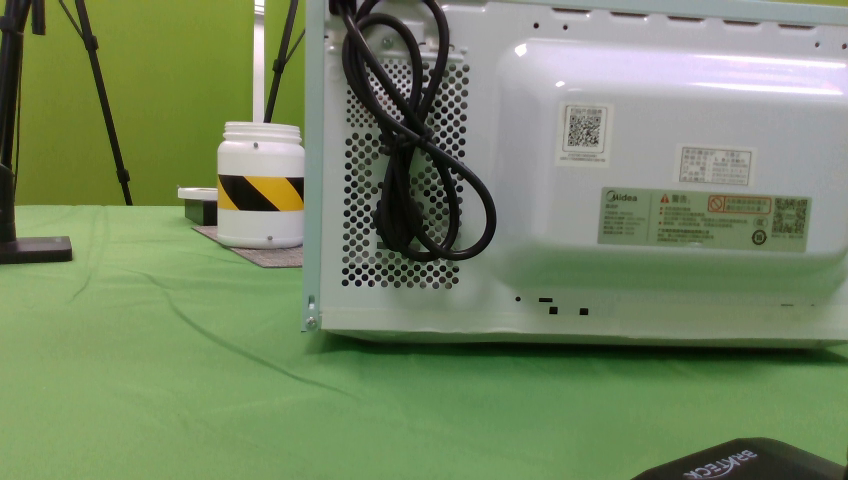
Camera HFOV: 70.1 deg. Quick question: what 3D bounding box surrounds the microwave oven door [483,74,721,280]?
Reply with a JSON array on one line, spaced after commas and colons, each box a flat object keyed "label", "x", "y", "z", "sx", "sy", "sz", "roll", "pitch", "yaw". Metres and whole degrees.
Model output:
[{"label": "microwave oven door", "x": 0.221, "y": -0.093, "z": 0.843, "sx": 0.039, "sy": 0.243, "sz": 0.354, "roll": -3, "pitch": 9, "yaw": -38}]

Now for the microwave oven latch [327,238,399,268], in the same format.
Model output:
[{"label": "microwave oven latch", "x": -0.069, "y": 0.015, "z": 0.694, "sx": 0.079, "sy": 0.029, "sz": 0.030, "roll": 3, "pitch": 7, "yaw": -3}]

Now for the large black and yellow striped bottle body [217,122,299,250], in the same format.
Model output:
[{"label": "large black and yellow striped bottle body", "x": -0.250, "y": -0.084, "z": 0.931, "sx": 0.131, "sy": 0.184, "sz": 0.130, "roll": 2, "pitch": 7, "yaw": 0}]

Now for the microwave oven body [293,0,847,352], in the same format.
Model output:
[{"label": "microwave oven body", "x": 0.122, "y": -0.055, "z": 0.550, "sx": 0.442, "sy": 0.260, "sz": 0.325, "roll": 3, "pitch": 7, "yaw": -5}]

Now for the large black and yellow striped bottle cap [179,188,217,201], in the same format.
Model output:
[{"label": "large black and yellow striped bottle cap", "x": -0.434, "y": -0.093, "z": 1.226, "sx": 0.115, "sy": 0.019, "sz": 0.115, "roll": 3, "pitch": 9, "yaw": 0}]

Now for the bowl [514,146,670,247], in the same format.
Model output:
[{"label": "bowl", "x": 0.160, "y": -0.036, "z": 0.598, "sx": 0.151, "sy": 0.076, "sz": 0.151, "roll": 7, "pitch": -4, "yaw": 1}]
